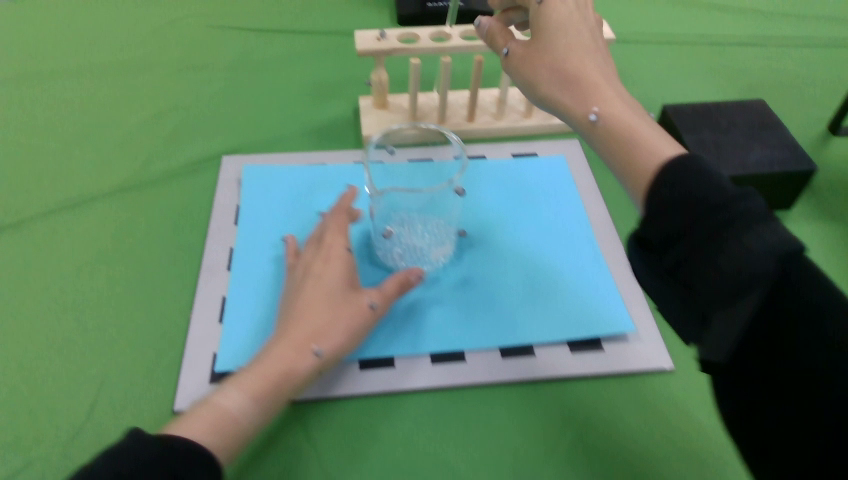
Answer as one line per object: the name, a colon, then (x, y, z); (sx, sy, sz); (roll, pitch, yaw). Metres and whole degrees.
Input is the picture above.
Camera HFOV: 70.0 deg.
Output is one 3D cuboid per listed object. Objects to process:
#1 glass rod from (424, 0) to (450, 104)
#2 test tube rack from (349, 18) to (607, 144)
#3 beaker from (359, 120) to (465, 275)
glass rod: (0.019, -0.211, 0.550); (0.008, 0.201, 0.008); (7, 44, -6)
test tube rack: (0.053, -0.155, 0.589); (0.243, 0.086, 0.066); (-5, 48, -6)
beaker: (-0.012, -0.026, 0.458); (0.073, 0.101, 0.084); (33, 56, 25)
